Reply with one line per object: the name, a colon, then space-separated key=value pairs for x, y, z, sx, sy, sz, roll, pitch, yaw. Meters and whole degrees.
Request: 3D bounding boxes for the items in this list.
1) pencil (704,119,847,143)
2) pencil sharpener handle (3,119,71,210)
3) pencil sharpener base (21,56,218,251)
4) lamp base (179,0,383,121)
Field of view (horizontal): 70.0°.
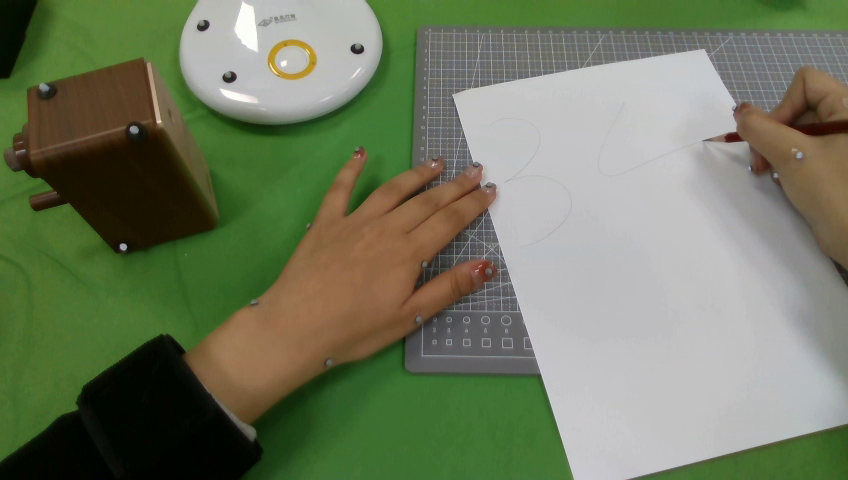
pencil: x=0.255 y=-0.069 z=0.365 sx=0.012 sy=0.193 sz=0.012 roll=-2 pitch=94 yaw=-30
pencil sharpener handle: x=-0.233 y=-0.040 z=0.360 sx=0.031 sy=0.068 sz=0.035 roll=-18 pitch=64 yaw=-9
pencil sharpener base: x=-0.185 y=-0.049 z=0.379 sx=0.077 sy=0.108 sz=0.061 roll=-18 pitch=62 yaw=-9
lamp base: x=-0.121 y=-0.206 z=0.425 sx=0.161 sy=0.182 sz=0.177 roll=-27 pitch=62 yaw=-14
